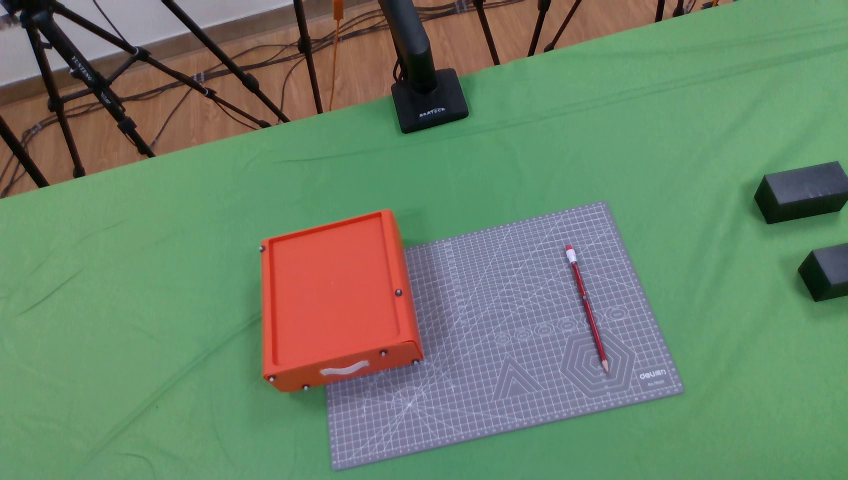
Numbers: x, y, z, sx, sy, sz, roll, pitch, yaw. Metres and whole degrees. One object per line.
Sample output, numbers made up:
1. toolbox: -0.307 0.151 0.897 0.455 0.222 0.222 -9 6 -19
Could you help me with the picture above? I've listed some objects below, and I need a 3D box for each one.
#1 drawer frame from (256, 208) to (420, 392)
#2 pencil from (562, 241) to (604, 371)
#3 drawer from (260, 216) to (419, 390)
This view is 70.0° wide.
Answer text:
1. drawer frame: -0.124 0.082 0.842 0.201 0.083 0.211 -15 57 3
2. pencil: 0.215 0.086 0.820 0.012 0.012 0.192 -12 61 4
3. drawer: -0.122 0.084 0.841 0.194 0.074 0.209 -14 57 3
